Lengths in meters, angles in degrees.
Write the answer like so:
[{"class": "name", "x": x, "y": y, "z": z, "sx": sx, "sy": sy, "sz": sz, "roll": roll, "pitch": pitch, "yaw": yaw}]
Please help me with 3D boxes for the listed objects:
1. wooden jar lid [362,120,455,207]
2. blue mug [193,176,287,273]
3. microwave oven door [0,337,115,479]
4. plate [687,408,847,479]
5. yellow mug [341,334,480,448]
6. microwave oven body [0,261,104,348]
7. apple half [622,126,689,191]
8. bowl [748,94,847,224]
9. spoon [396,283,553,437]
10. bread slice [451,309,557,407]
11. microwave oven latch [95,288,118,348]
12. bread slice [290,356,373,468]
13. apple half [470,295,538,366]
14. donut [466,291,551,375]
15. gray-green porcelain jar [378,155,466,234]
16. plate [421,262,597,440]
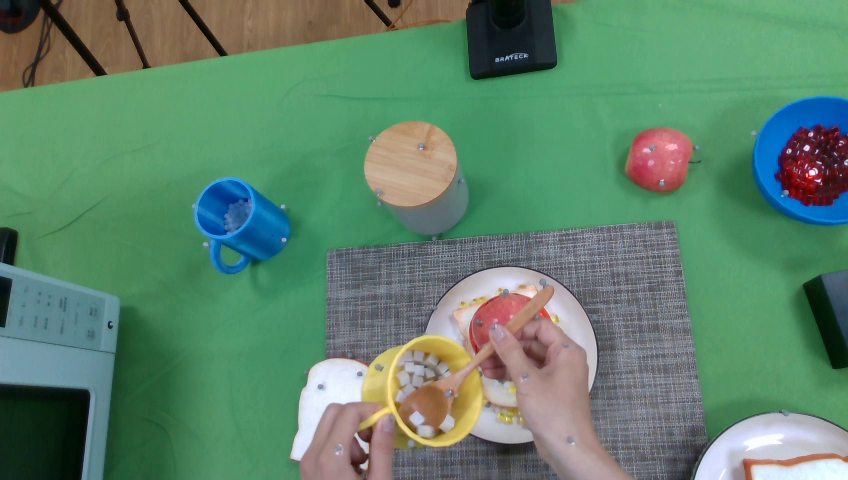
[{"class": "wooden jar lid", "x": -0.017, "y": -0.086, "z": 0.696, "sx": 0.108, "sy": 0.021, "sz": 0.107, "roll": -3, "pitch": 72, "yaw": 8}, {"class": "blue mug", "x": -0.245, "y": -0.012, "z": 0.798, "sx": 0.082, "sy": 0.106, "sz": 0.116, "roll": 16, "pitch": 78, "yaw": 15}, {"class": "microwave oven door", "x": -0.452, "y": 0.290, "z": 0.666, "sx": 0.039, "sy": 0.245, "sz": 0.353, "roll": -5, "pitch": 74, "yaw": 10}, {"class": "plate", "x": 0.380, "y": 0.282, "z": 0.631, "sx": 0.209, "sy": 0.038, "sz": 0.208, "roll": -3, "pitch": 74, "yaw": 11}, {"class": "yellow mug", "x": -0.017, "y": 0.149, "z": 0.568, "sx": 0.131, "sy": 0.064, "sz": 0.099, "roll": -19, "pitch": 82, "yaw": -32}, {"class": "microwave oven body", "x": -0.596, "y": 0.262, "z": 0.707, "sx": 0.325, "sy": 0.262, "sz": 0.439, "roll": -5, "pitch": 75, "yaw": 10}, {"class": "apple half", "x": 0.287, "y": -0.107, "z": 0.748, "sx": 0.074, "sy": 0.054, "sz": 0.080, "roll": 17, "pitch": 79, "yaw": 18}, {"class": "bowl", "x": 0.444, "y": -0.082, "z": 0.696, "sx": 0.151, "sy": 0.077, "sz": 0.150, "roll": -3, "pitch": 75, "yaw": 11}, {"class": "spoon", "x": 0.048, "y": 0.109, "z": 0.555, "sx": 0.194, "sy": 0.022, "sz": 0.041, "roll": -45, "pitch": 78, "yaw": 10}, {"class": "bread slice", "x": 0.102, "y": 0.133, "z": 0.734, "sx": 0.107, "sy": 0.018, "sz": 0.133, "roll": -22, "pitch": 64, "yaw": 0}, {"class": "microwave oven latch", "x": -0.438, "y": 0.106, "z": 0.820, "sx": 0.030, "sy": 0.030, "sz": 0.078, "roll": -1, "pitch": 75, "yaw": 11}, {"class": "bread slice", "x": -0.111, "y": 0.211, "z": 0.755, "sx": 0.104, "sy": 0.019, "sz": 0.131, "roll": 3, "pitch": 77, "yaw": 10}, {"class": "apple half", "x": 0.088, "y": 0.098, "z": 0.667, "sx": 0.081, "sy": 0.033, "sz": 0.080, "roll": -6, "pitch": 69, "yaw": 16}, {"class": "donut", "x": 0.098, "y": 0.107, "z": 0.701, "sx": 0.099, "sy": 0.048, "sz": 0.098, "roll": -3, "pitch": 75, "yaw": 11}, {"class": "gray-green porcelain jar", "x": -0.004, "y": -0.069, "z": 0.756, "sx": 0.105, "sy": 0.127, "sz": 0.105, "roll": -3, "pitch": 74, "yaw": 11}, {"class": "plate", "x": 0.099, "y": 0.131, "z": 0.724, "sx": 0.207, "sy": 0.039, "sz": 0.206, "roll": -3, "pitch": 75, "yaw": 11}]
